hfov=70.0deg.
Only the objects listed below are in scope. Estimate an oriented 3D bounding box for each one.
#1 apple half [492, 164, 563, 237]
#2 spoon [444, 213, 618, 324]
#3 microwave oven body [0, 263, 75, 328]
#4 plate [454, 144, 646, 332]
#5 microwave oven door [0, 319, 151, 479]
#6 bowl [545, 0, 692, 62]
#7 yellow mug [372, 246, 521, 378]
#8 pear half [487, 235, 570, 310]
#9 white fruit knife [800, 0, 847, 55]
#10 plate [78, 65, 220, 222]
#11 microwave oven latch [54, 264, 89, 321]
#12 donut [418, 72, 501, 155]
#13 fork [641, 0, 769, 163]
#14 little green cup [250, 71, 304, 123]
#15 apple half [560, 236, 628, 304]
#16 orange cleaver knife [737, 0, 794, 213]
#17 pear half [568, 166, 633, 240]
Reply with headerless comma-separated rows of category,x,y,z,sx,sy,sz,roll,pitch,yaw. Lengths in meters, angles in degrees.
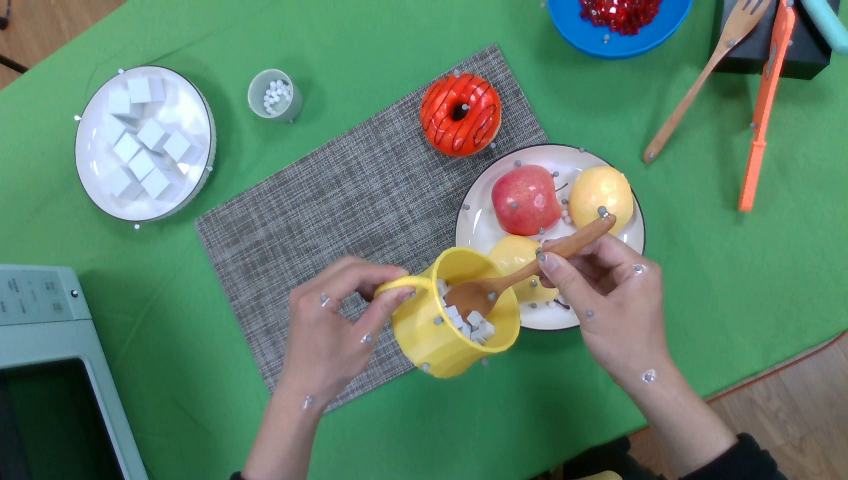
apple half,0.112,-0.044,0.671,0.074,0.053,0.080,-11,88,13
spoon,0.082,0.028,0.499,0.042,0.021,0.194,49,137,-5
microwave oven body,-0.558,0.288,0.715,0.326,0.261,0.440,-26,82,10
plate,0.139,-0.003,0.680,0.208,0.038,0.208,-1,87,13
microwave oven door,-0.413,0.264,0.677,0.039,0.245,0.354,-26,81,11
bowl,0.209,-0.259,0.661,0.151,0.077,0.151,-1,87,13
yellow mug,0.016,0.059,0.526,0.064,0.132,0.099,-39,43,41
pear half,0.118,0.043,0.669,0.109,0.056,0.076,35,100,8
white fruit knife,0.371,-0.271,0.604,0.027,0.016,0.206,-22,79,-18
plate,-0.361,-0.126,0.809,0.207,0.039,0.207,-1,87,13
microwave oven latch,-0.476,0.072,0.806,0.030,0.029,0.079,-23,83,10
donut,0.041,-0.147,0.707,0.099,0.048,0.099,0,89,16
fork,0.289,-0.169,0.632,0.028,0.018,0.208,30,114,5
little green cup,-0.185,-0.178,0.769,0.061,0.039,0.061,-1,86,14
apple half,0.175,0.032,0.652,0.081,0.033,0.081,3,96,36
orange cleaver knife,0.347,-0.134,0.619,0.012,0.077,0.212,9,115,19
pear half,0.187,-0.035,0.656,0.070,0.031,0.088,4,98,37
